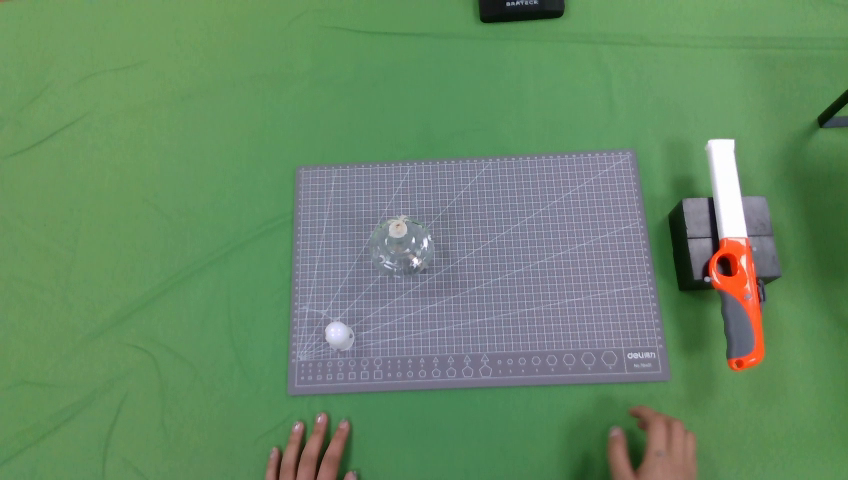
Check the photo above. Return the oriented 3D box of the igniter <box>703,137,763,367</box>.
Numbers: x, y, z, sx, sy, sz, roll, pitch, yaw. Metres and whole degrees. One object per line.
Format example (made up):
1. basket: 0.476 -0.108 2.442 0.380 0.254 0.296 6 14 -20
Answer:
1. igniter: 0.350 0.007 0.694 0.057 0.025 0.274 1 71 6

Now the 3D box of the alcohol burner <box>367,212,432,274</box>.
1. alcohol burner: -0.030 -0.002 0.711 0.078 0.120 0.077 0 71 1

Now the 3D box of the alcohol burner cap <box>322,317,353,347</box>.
1. alcohol burner cap: -0.104 0.107 0.717 0.034 0.048 0.033 -1 72 4
